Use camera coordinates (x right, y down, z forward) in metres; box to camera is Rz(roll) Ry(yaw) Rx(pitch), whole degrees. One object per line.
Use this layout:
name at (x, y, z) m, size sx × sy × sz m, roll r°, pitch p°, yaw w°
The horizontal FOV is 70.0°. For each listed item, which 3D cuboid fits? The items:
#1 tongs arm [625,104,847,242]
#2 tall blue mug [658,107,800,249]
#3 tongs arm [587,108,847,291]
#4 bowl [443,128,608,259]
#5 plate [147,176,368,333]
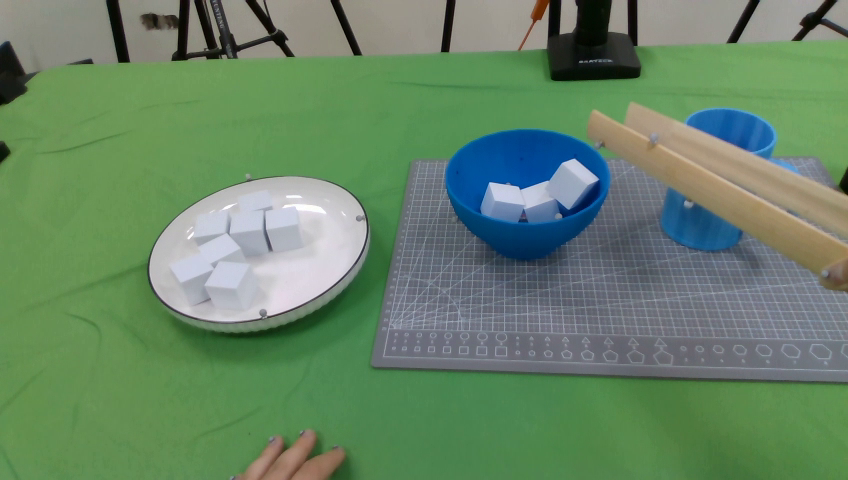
tongs arm at (0.258, -0.010, 0.376) m, size 0.028 × 0.028 × 0.383 m, roll -8°, pitch 34°, yaw -27°
tall blue mug at (0.281, -0.054, 0.556) m, size 0.107 × 0.109 × 0.077 m, roll 9°, pitch 43°, yaw 15°
tongs arm at (0.234, -0.005, 0.364) m, size 0.051 × 0.027 × 0.380 m, roll -9°, pitch 34°, yaw -22°
bowl at (0.095, -0.035, 0.579) m, size 0.151 × 0.077 × 0.150 m, roll -3°, pitch 42°, yaw 3°
plate at (-0.156, 0.012, 0.588) m, size 0.209 × 0.038 × 0.207 m, roll -2°, pitch 42°, yaw 3°
